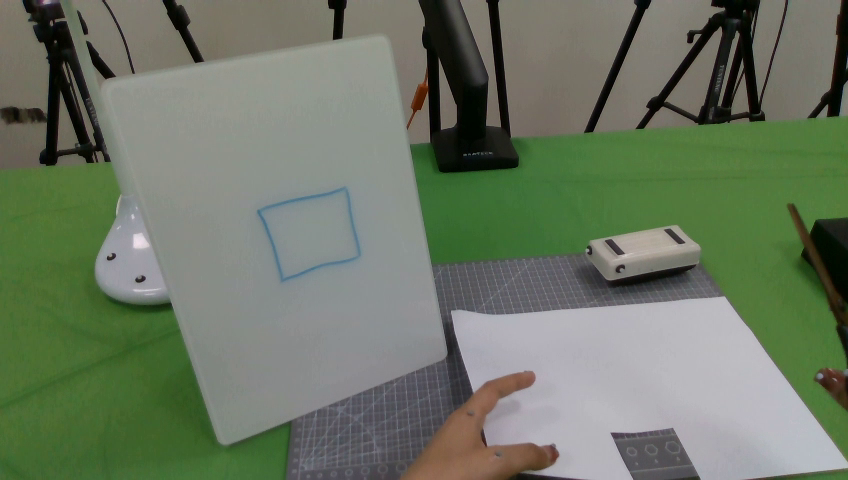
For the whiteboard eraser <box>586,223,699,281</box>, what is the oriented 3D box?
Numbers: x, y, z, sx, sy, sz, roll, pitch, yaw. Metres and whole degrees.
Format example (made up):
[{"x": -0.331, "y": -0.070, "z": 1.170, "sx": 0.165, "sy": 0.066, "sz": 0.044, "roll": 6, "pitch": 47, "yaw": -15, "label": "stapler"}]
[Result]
[{"x": 0.244, "y": 0.015, "z": 0.679, "sx": 0.113, "sy": 0.042, "sz": 0.055, "roll": -9, "pitch": 38, "yaw": -11, "label": "whiteboard eraser"}]

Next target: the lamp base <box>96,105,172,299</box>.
[{"x": -0.308, "y": -0.051, "z": 0.670, "sx": 0.178, "sy": 0.182, "sz": 0.160, "roll": 21, "pitch": 41, "yaw": 31, "label": "lamp base"}]

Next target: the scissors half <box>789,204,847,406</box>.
[{"x": 0.269, "y": 0.054, "z": 0.392, "sx": 0.040, "sy": 0.013, "sz": 0.174, "roll": 6, "pitch": 63, "yaw": -26, "label": "scissors half"}]

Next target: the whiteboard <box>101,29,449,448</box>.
[{"x": -0.125, "y": -0.013, "z": 0.556, "sx": 0.218, "sy": 0.307, "sz": 0.142, "roll": -17, "pitch": 20, "yaw": -20, "label": "whiteboard"}]

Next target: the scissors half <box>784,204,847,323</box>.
[{"x": 0.288, "y": 0.052, "z": 0.404, "sx": 0.040, "sy": 0.013, "sz": 0.174, "roll": -18, "pitch": 77, "yaw": -39, "label": "scissors half"}]
